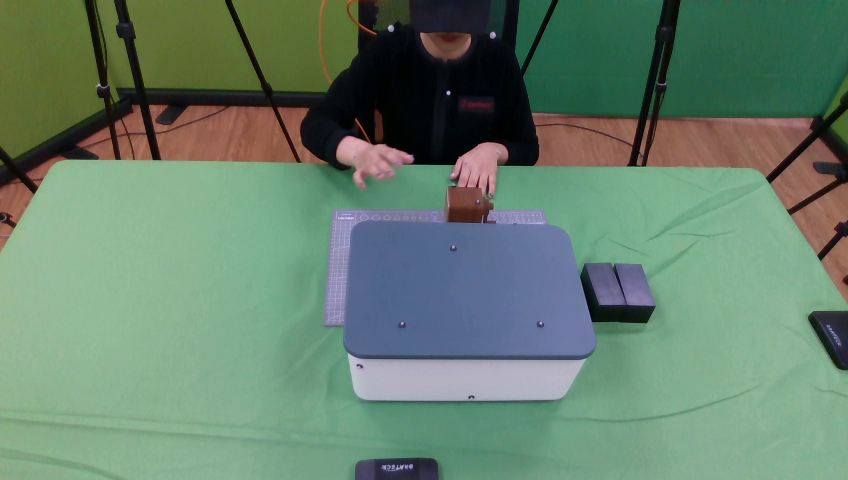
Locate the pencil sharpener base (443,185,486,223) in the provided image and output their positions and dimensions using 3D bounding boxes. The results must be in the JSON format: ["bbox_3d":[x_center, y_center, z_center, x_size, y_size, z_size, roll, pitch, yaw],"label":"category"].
[{"bbox_3d":[0.078,-0.049,1.188,0.077,0.107,0.061,2,46,-3],"label":"pencil sharpener base"}]

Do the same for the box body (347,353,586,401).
[{"bbox_3d":[0.060,0.120,0.988,0.364,0.161,0.252,1,47,-4],"label":"box body"}]

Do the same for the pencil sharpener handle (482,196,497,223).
[{"bbox_3d":[0.130,-0.055,1.182,0.031,0.068,0.036,2,43,-3],"label":"pencil sharpener handle"}]

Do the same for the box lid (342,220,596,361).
[{"bbox_3d":[0.066,0.070,0.934,0.372,0.015,0.261,1,48,-4],"label":"box lid"}]
